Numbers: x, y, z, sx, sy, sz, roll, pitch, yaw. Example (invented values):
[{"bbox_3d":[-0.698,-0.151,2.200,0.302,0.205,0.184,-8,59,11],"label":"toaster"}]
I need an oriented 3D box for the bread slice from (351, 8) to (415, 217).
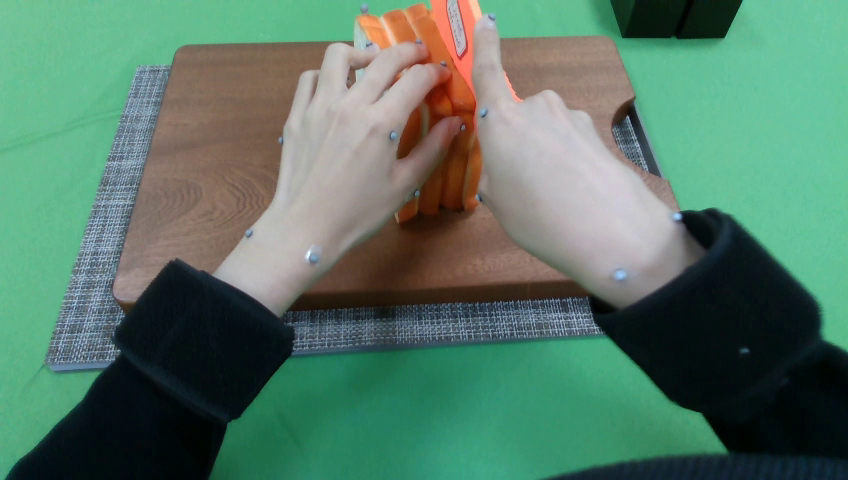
[{"bbox_3d":[-0.032,-0.097,0.432,0.018,0.108,0.133,-10,49,-13],"label":"bread slice"}]

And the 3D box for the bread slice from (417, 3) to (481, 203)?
[{"bbox_3d":[0.018,-0.109,0.439,0.019,0.106,0.130,-10,51,-9],"label":"bread slice"}]

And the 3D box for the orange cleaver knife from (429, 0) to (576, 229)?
[{"bbox_3d":[0.035,-0.091,0.351,0.012,0.077,0.209,-13,68,-14],"label":"orange cleaver knife"}]
